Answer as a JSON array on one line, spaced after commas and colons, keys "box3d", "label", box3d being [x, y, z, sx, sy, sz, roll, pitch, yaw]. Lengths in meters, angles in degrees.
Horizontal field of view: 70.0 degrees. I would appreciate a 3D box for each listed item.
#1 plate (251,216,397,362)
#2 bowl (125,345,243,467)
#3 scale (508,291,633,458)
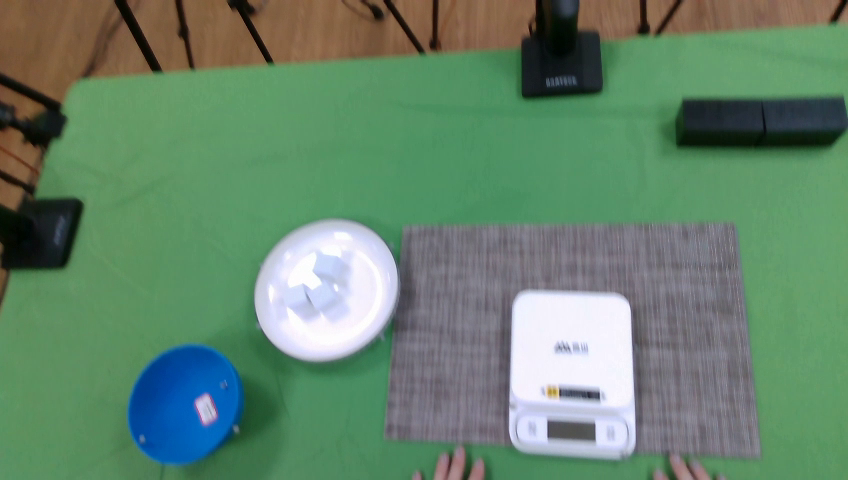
[{"box3d": [-0.137, 0.069, 0.846, 0.207, 0.039, 0.206, -3, 69, 9], "label": "plate"}, {"box3d": [-0.298, 0.219, 0.793, 0.151, 0.077, 0.150, -3, 69, 9], "label": "bowl"}, {"box3d": [0.180, 0.163, 0.753, 0.148, 0.032, 0.199, 0, 70, 11], "label": "scale"}]
